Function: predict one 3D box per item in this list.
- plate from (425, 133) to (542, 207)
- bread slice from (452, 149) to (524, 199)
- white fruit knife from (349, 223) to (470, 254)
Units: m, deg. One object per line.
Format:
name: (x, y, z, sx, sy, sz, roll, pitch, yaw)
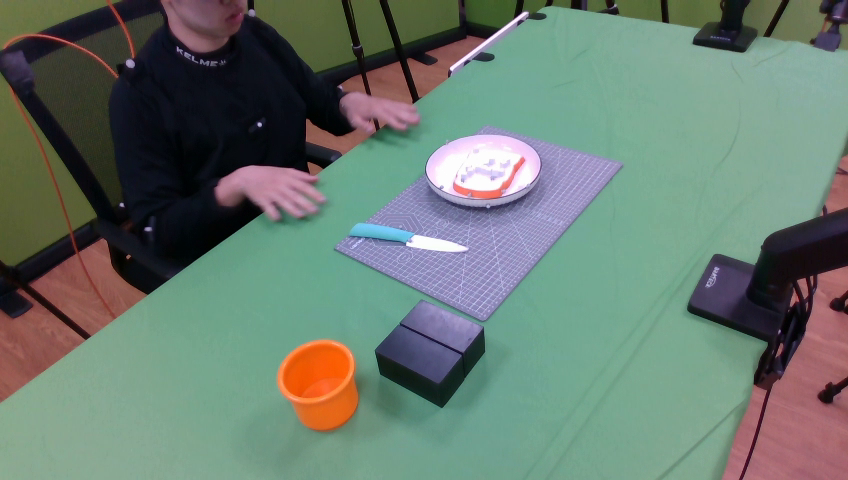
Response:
plate: (0.106, -0.121, 1.079, 0.209, 0.038, 0.208, -4, 41, 4)
bread slice: (0.111, -0.119, 1.078, 0.104, 0.019, 0.131, 12, 43, 21)
white fruit knife: (-0.025, -0.001, 0.977, 0.206, 0.016, 0.027, 11, 73, 17)
